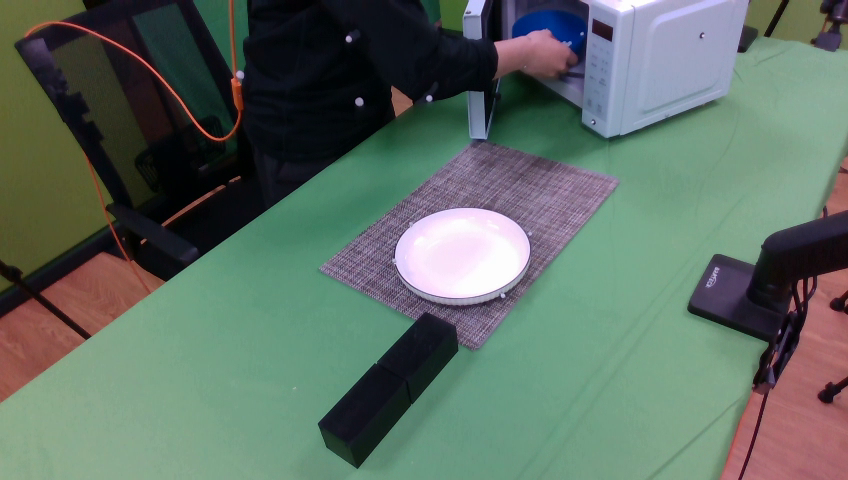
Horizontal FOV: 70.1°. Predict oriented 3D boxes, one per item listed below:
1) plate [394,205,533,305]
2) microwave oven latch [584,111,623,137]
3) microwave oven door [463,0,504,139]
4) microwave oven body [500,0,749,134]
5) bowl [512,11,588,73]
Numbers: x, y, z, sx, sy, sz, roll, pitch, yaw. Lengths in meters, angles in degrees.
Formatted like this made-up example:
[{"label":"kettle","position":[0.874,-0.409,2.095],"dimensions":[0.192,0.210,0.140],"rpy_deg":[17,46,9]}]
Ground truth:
[{"label":"plate","position":[0.059,0.025,0.915],"dimensions":[0.207,0.039,0.206],"rpy_deg":[-4,41,4]},{"label":"microwave oven latch","position":[0.337,-0.222,1.142],"dimensions":[0.030,0.029,0.078],"rpy_deg":[-21,42,-14]},{"label":"microwave oven door","position":[0.125,-0.403,1.226],"dimensions":[0.039,0.245,0.355],"rpy_deg":[3,42,12]},{"label":"microwave oven body","position":[0.382,-0.444,1.246],"dimensions":[0.327,0.261,0.437],"rpy_deg":[-22,42,-16]},{"label":"bowl","position":[0.255,-0.395,1.237],"dimensions":[0.151,0.077,0.150],"rpy_deg":[-3,48,4]}]
